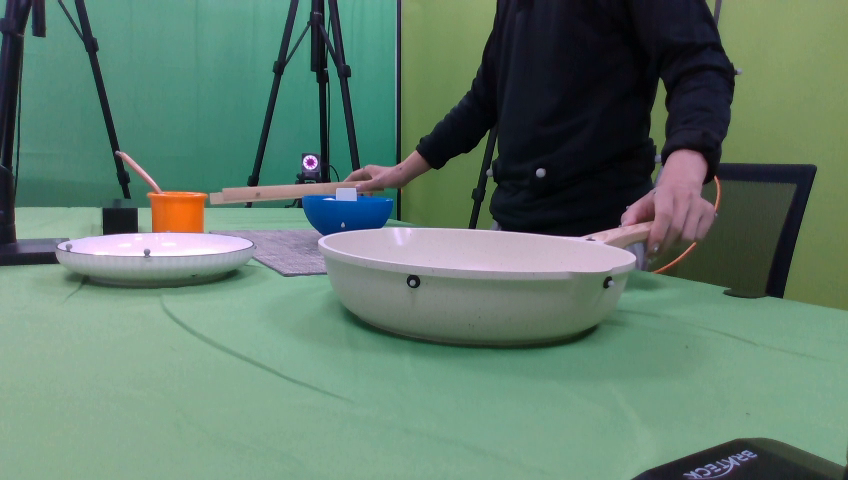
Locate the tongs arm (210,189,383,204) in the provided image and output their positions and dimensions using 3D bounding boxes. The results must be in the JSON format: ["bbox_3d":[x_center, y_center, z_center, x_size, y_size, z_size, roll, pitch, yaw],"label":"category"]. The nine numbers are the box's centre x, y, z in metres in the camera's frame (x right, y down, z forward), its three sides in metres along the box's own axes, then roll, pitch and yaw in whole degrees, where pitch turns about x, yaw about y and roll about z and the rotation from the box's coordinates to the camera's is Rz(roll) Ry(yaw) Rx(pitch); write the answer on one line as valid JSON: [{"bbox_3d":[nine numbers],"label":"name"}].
[{"bbox_3d":[-0.282,-0.111,1.379,0.387,0.026,0.050,-7,1,-25],"label":"tongs arm"}]

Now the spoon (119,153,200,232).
[{"bbox_3d":[-0.439,-0.077,1.000,0.021,0.193,0.042,-43,-7,22],"label":"spoon"}]

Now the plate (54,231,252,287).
[{"bbox_3d":[-0.309,0.020,0.705,0.208,0.039,0.207,2,7,0],"label":"plate"}]

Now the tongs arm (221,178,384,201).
[{"bbox_3d":[-0.246,-0.111,1.312,0.390,0.027,0.028,-8,-1,-36],"label":"tongs arm"}]

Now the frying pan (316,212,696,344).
[{"bbox_3d":[0.133,0.013,0.630,0.490,0.102,0.305,-12,14,-31],"label":"frying pan"}]

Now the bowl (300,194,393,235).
[{"bbox_3d":[-0.128,-0.034,0.995,0.151,0.077,0.151,2,7,0],"label":"bowl"}]
